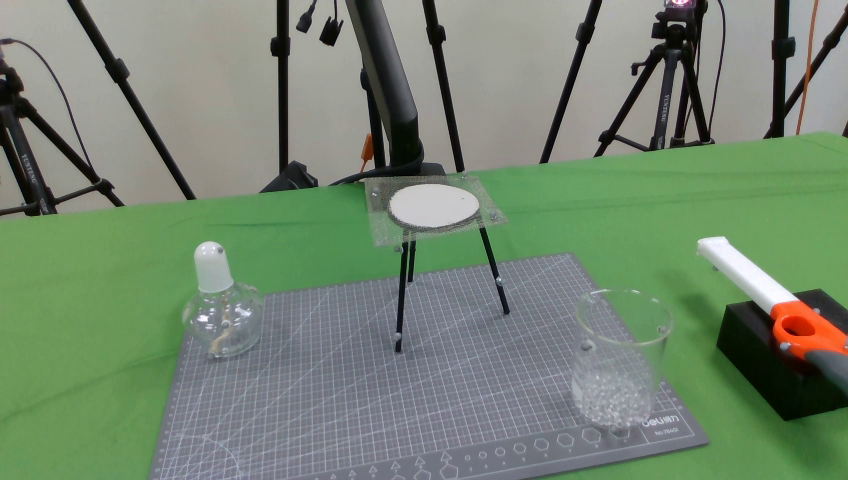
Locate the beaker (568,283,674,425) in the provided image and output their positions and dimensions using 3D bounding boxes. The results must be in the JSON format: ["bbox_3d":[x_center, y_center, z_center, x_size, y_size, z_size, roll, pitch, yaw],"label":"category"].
[{"bbox_3d":[0.158,0.096,0.509,0.074,0.101,0.083,-17,34,-22],"label":"beaker"}]

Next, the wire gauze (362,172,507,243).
[{"bbox_3d":[0.005,-0.038,0.576,0.122,0.011,0.124,-6,32,-8],"label":"wire gauze"}]

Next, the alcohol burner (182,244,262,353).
[{"bbox_3d":[-0.201,0.052,0.594,0.078,0.120,0.077,-1,34,1],"label":"alcohol burner"}]

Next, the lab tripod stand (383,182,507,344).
[{"bbox_3d":[0.013,0.017,0.615,0.148,0.132,0.147,-1,30,1],"label":"lab tripod stand"}]

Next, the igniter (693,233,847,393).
[{"bbox_3d":[0.322,0.064,0.533,0.057,0.025,0.274,-7,29,-5],"label":"igniter"}]

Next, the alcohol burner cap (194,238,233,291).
[{"bbox_3d":[-0.202,0.021,0.576,0.034,0.048,0.033,0,26,1],"label":"alcohol burner cap"}]
